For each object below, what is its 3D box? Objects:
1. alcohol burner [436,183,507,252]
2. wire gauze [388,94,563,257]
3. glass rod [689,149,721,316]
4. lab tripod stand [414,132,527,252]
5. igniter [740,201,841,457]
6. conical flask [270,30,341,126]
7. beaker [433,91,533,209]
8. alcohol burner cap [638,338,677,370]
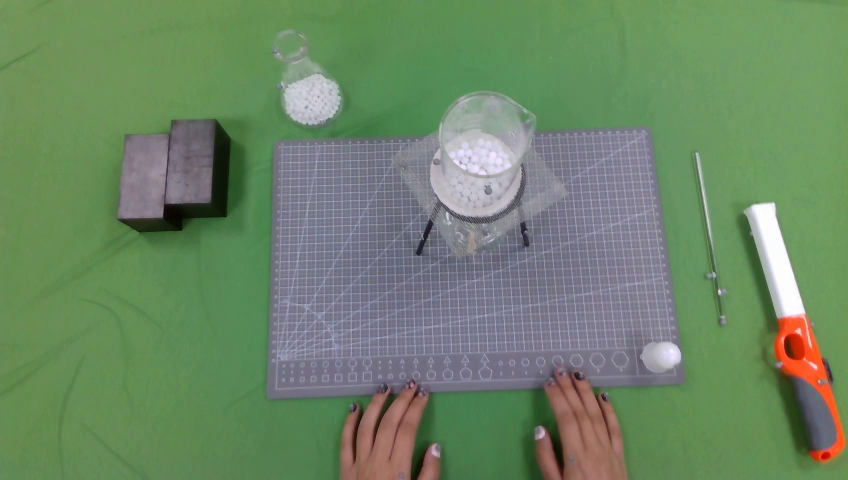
[{"bbox_3d":[0.052,-0.029,0.642,0.078,0.119,0.077,0,74,-1],"label":"alcohol burner"},{"bbox_3d":[0.048,-0.062,0.573,0.125,0.011,0.121,-31,81,-8],"label":"wire gauze"},{"bbox_3d":[0.322,-0.012,0.694,0.008,0.008,0.198,-2,76,-1],"label":"glass rod"},{"bbox_3d":[0.049,-0.042,0.635,0.148,0.132,0.147,0,77,1],"label":"lab tripod stand"},{"bbox_3d":[0.397,0.091,0.658,0.057,0.025,0.275,-6,76,-12],"label":"igniter"},{"bbox_3d":[-0.138,-0.185,0.681,0.075,0.122,0.075,0,75,1],"label":"conical flask"},{"bbox_3d":[0.049,-0.074,0.526,0.084,0.100,0.073,-22,78,-5],"label":"beaker"},{"bbox_3d":[0.250,0.119,0.641,0.034,0.048,0.033,0,75,1],"label":"alcohol burner cap"}]
